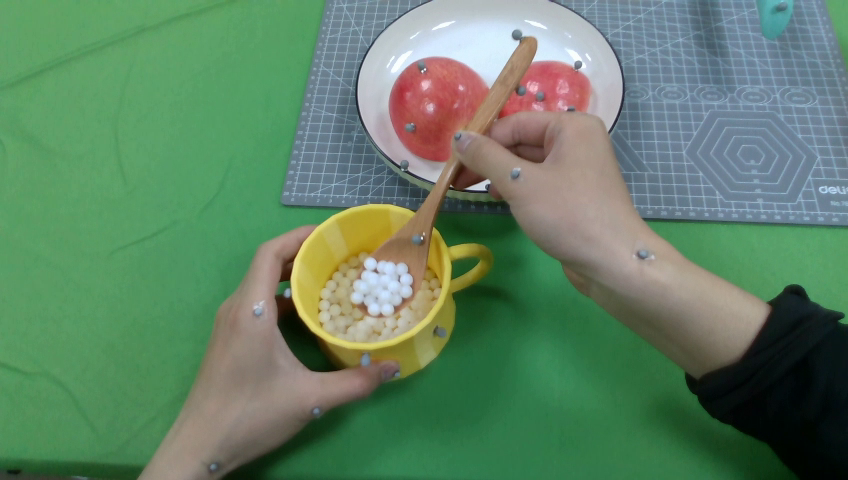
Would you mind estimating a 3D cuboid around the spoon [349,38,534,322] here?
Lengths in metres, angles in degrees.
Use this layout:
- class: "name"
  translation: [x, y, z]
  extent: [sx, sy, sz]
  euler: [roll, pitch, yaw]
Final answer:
- class: "spoon"
  translation: [0.013, -0.035, 0.364]
  extent: [0.041, 0.022, 0.194]
  euler: [34, 99, 21]

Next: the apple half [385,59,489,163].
- class: "apple half"
  translation: [0.009, -0.107, 0.466]
  extent: [0.081, 0.054, 0.074]
  euler: [-37, 63, -15]

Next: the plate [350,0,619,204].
- class: "plate"
  translation: [0.046, -0.113, 0.485]
  extent: [0.209, 0.038, 0.207]
  euler: [-1, 62, 3]

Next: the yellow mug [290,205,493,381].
- class: "yellow mug"
  translation: [-0.016, 0.031, 0.399]
  extent: [0.131, 0.064, 0.099]
  euler: [-18, 62, -7]

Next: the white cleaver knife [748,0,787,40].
- class: "white cleaver knife"
  translation: [0.277, -0.276, 0.541]
  extent: [0.021, 0.066, 0.284]
  euler: [1, 58, 10]

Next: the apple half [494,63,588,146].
- class: "apple half"
  translation: [0.091, -0.115, 0.475]
  extent: [0.081, 0.033, 0.080]
  euler: [-2, 64, 4]
